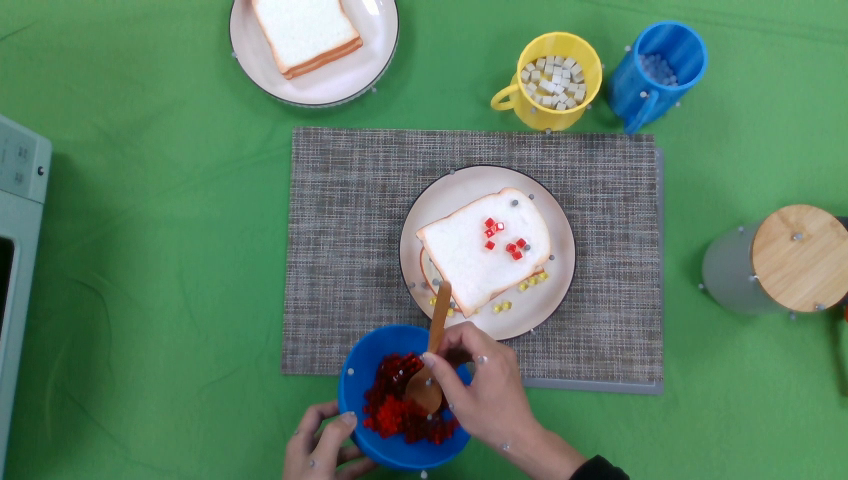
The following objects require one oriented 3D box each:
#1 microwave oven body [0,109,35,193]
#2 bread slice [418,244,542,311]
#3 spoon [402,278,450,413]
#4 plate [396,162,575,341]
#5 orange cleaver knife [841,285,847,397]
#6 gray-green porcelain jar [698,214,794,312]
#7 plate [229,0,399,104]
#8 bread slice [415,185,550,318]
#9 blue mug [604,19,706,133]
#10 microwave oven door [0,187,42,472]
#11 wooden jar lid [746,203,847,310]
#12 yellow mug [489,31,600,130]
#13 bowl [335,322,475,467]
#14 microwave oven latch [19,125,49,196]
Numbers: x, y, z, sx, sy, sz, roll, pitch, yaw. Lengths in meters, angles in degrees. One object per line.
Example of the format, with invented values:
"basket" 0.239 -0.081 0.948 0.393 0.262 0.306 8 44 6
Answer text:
"microwave oven body" -0.622 0.057 0.588 0.326 0.261 0.440 4 83 0
"bread slice" 0.061 0.023 0.715 0.131 0.019 0.104 -29 82 -7
"spoon" 0.006 0.110 0.599 0.041 0.195 0.021 22 44 13
"plate" 0.071 0.013 0.713 0.209 0.038 0.208 0 82 0
"orange cleaver knife" 0.503 0.081 0.689 0.012 0.077 0.212 1 108 1
"gray-green porcelain jar" 0.377 0.027 0.674 0.106 0.127 0.105 0 82 -1
"plate" -0.134 -0.266 0.753 0.208 0.039 0.207 0 82 -1
"bread slice" 0.068 0.003 0.655 0.134 0.018 0.107 -33 90 -12
"blue mug" 0.262 -0.180 0.712 0.082 0.106 0.116 23 83 3
"microwave oven door" -0.480 0.109 0.578 0.039 0.244 0.354 4 82 1
"wooden jar lid" 0.376 0.017 0.612 0.108 0.021 0.108 0 85 -2
"yellow mug" 0.141 -0.186 0.731 0.131 0.064 0.099 -19 82 -2
"bowl" -0.030 0.170 0.636 0.152 0.077 0.150 16 51 -20
"microwave oven latch" -0.463 -0.093 0.707 0.030 0.029 0.079 7 83 0
